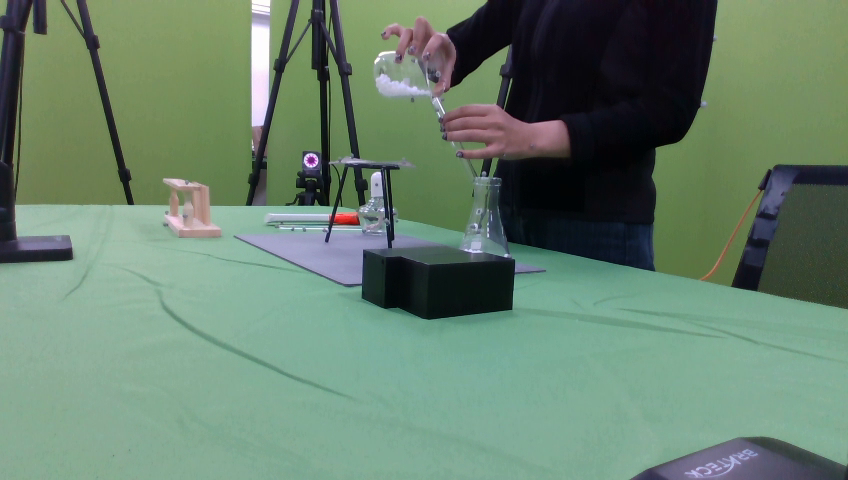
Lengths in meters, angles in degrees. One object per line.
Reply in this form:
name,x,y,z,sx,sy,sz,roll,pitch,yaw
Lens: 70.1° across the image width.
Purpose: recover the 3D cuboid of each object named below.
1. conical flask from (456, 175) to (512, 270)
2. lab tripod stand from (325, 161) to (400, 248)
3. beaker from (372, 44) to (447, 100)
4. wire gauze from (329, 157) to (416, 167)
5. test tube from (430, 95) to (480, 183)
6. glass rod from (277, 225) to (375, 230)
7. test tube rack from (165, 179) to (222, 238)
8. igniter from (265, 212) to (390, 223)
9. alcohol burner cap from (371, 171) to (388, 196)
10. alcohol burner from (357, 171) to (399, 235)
conical flask,0.082,-0.025,0.801,0.075,0.122,0.075,2,7,0
lab tripod stand,-0.083,-0.059,0.977,0.148,0.131,0.148,4,8,0
beaker,-0.024,-0.261,0.954,0.100,0.084,0.074,4,5,26
wire gauze,-0.079,-0.126,0.972,0.121,0.011,0.125,4,8,5
test tube,0.048,-0.155,0.929,0.017,0.150,0.017,-26,-6,-3
glass rod,-0.187,-0.024,1.178,0.201,0.008,0.008,1,6,-31
test tube rack,-0.423,-0.062,1.098,0.067,0.085,0.241,-2,9,-28
igniter,-0.196,-0.048,1.285,0.278,0.025,0.057,-2,-2,-30
alcohol burner cap,-0.085,-0.104,1.120,0.034,0.048,0.034,-5,8,1
alcohol burner,-0.085,-0.069,1.125,0.078,0.119,0.078,3,10,0
